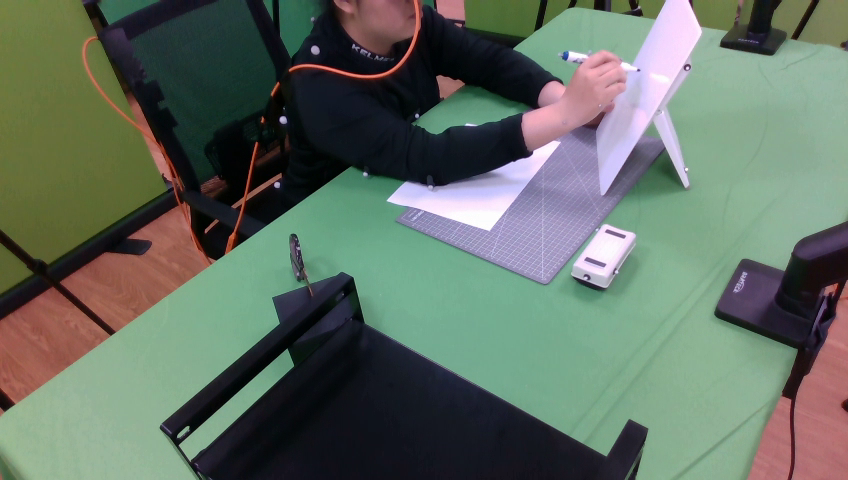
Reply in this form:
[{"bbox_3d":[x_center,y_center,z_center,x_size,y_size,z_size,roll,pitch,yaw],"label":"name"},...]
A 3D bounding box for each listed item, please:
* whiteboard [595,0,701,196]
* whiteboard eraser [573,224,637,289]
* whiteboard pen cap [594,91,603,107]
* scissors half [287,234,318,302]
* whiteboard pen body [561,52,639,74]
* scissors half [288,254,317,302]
[{"bbox_3d":[0.421,-0.227,1.010,0.144,0.305,0.216,18,42,-2],"label":"whiteboard"},{"bbox_3d":[0.267,0.025,0.891,0.055,0.042,0.113,19,47,31],"label":"whiteboard eraser"},{"bbox_3d":[0.364,-0.294,1.262,0.018,0.033,0.018,-5,41,5],"label":"whiteboard pen cap"},{"bbox_3d":[-0.178,0.040,0.885,0.013,0.040,0.173,-11,36,-21],"label":"scissors half"},{"bbox_3d":[0.294,-0.290,1.001,0.141,0.017,0.017,7,38,-13],"label":"whiteboard pen body"},{"bbox_3d":[-0.178,0.058,0.894,0.013,0.040,0.174,-16,21,-18],"label":"scissors half"}]
